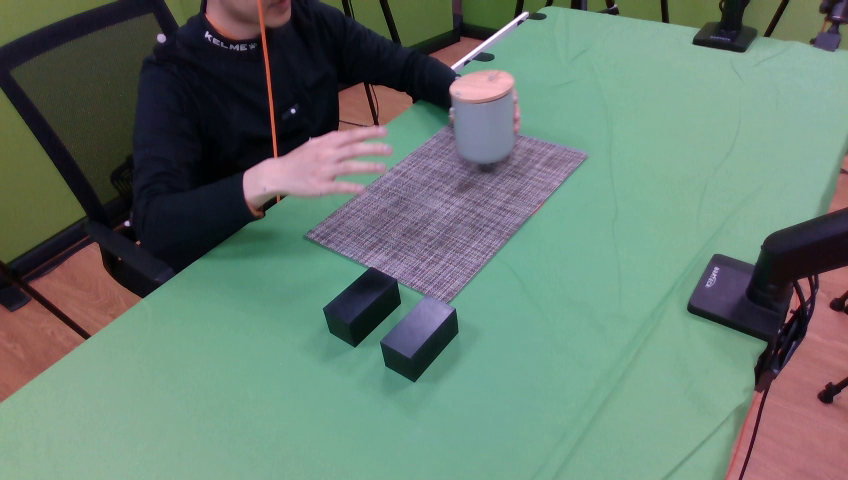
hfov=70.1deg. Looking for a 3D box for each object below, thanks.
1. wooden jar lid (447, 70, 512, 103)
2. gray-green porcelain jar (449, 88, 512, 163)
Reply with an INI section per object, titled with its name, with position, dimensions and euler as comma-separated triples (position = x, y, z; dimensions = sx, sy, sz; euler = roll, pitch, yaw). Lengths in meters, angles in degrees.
[wooden jar lid]
position = 0.094, -0.254, 1.016
dimensions = 0.108, 0.021, 0.108
euler = -8, 39, 7
[gray-green porcelain jar]
position = 0.101, -0.206, 1.056
dimensions = 0.106, 0.127, 0.105
euler = -5, 40, 5
